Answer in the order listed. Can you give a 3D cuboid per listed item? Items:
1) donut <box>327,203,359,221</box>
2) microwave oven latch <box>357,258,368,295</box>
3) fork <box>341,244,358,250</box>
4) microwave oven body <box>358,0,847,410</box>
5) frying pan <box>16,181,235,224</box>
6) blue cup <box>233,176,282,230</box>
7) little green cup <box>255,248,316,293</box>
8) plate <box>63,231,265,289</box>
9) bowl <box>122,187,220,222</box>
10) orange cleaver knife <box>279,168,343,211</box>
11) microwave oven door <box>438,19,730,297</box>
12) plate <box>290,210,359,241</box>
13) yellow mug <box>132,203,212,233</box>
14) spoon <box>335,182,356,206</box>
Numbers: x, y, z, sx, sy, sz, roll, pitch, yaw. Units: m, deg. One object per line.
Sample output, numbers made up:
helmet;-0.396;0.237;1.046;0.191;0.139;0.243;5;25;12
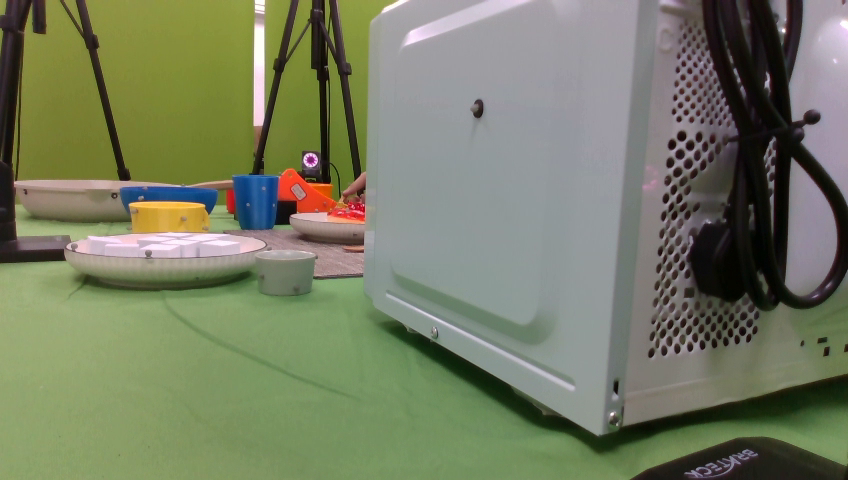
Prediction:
donut;-0.120;-0.037;1.055;0.099;0.048;0.099;5;7;0
microwave oven latch;-0.019;0.031;0.529;0.079;0.029;0.030;-1;7;-26
fork;-0.023;-0.011;0.917;0.208;0.018;0.028;-15;10;-12
microwave oven body;0.210;-0.051;0.471;0.444;0.260;0.324;-1;7;-28
frying pan;-0.554;-0.097;1.266;0.490;0.102;0.305;-10;13;-24
blue cup;-0.314;-0.071;1.141;0.093;0.100;0.092;0;7;0
little green cup;-0.144;0.031;0.627;0.061;0.038;0.061;2;6;0
plate;-0.288;0.021;0.687;0.208;0.039;0.207;2;8;0
bowl;-0.421;-0.046;1.012;0.151;0.077;0.151;2;7;0
orange cleaver knife;-0.236;-0.084;1.333;0.212;0.077;0.012;31;-9;-32
microwave oven door;0.181;-0.076;0.618;0.358;0.243;0.039;-2;8;-28
plate;-0.127;-0.026;1.051;0.209;0.038;0.209;3;7;0
yellow mug;-0.356;-0.020;0.878;0.099;0.064;0.131;5;7;22
spoon;-0.167;-0.078;1.231;0.041;0.021;0.193;4;32;10
